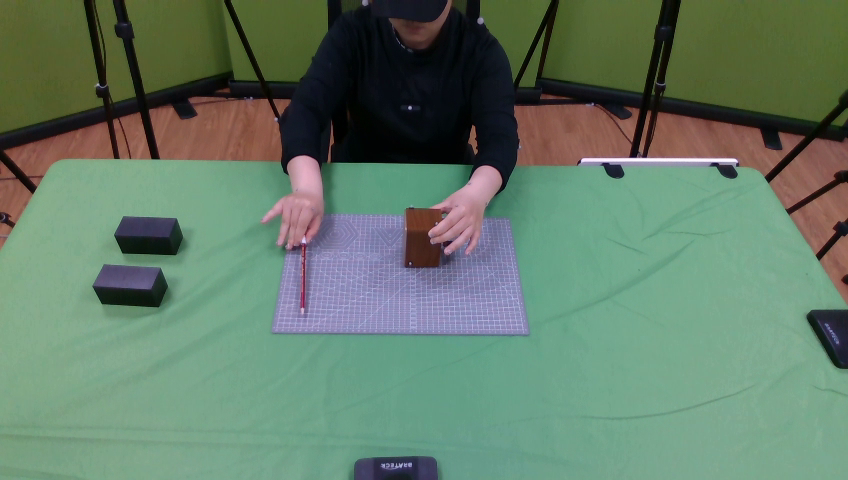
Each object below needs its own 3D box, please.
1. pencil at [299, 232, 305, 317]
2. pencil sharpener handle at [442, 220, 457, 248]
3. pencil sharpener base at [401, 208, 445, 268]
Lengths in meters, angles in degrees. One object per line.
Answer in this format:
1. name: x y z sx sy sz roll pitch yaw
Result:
1. pencil: -0.225 0.061 1.110 0.012 0.012 0.192 -3 51 -7
2. pencil sharpener handle: 0.049 -0.011 1.132 0.031 0.068 0.036 0 45 -5
3. pencil sharpener base: -0.003 -0.003 1.137 0.077 0.107 0.061 0 45 -5
